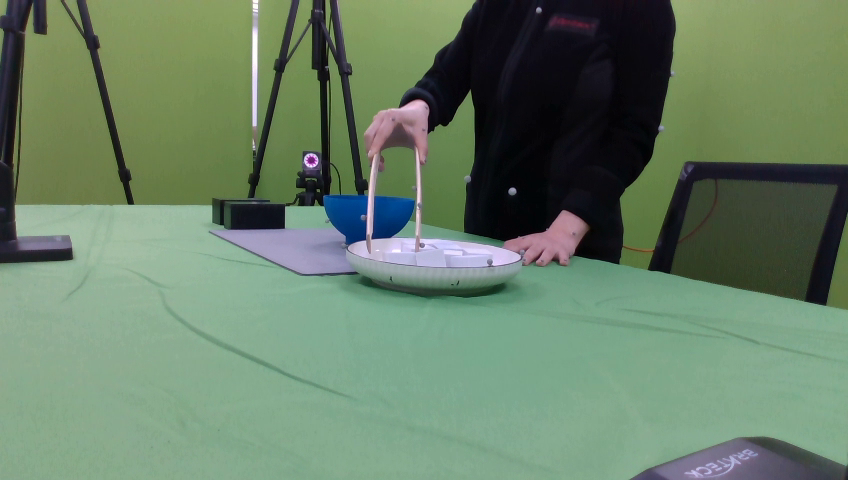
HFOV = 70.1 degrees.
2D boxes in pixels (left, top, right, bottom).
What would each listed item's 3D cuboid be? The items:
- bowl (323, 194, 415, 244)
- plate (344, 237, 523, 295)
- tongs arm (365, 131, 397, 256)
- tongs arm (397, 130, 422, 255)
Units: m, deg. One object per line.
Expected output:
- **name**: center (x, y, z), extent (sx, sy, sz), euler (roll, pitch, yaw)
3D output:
- **bowl**: center (-0.090, -0.032, 0.986), extent (0.151, 0.077, 0.151), euler (2, 7, 0)
- **plate**: center (0.010, 0.030, 0.707), extent (0.208, 0.039, 0.207), euler (3, 8, 0)
- **tongs arm**: center (-0.058, -0.081, 0.825), extent (0.028, 0.028, 0.387), euler (-4, 27, 2)
- **tongs arm**: center (-0.026, -0.081, 0.826), extent (0.051, 0.026, 0.384), euler (-1, 27, 2)
